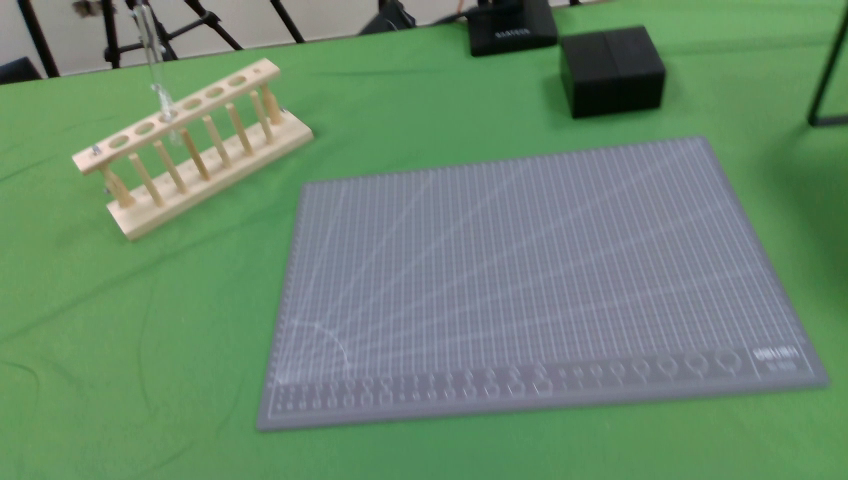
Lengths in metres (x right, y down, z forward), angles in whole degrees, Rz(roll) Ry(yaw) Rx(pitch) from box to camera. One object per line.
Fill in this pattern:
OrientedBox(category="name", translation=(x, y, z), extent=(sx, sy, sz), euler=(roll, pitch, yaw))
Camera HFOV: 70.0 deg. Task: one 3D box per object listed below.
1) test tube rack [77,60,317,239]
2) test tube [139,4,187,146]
OrientedBox(category="test tube rack", translation=(-0.252, -0.109, 0.699), extent=(0.242, 0.086, 0.066), euler=(-34, 51, -20))
OrientedBox(category="test tube", translation=(-0.284, -0.179, 0.663), extent=(0.017, 0.151, 0.017), euler=(-7, 17, 3))
